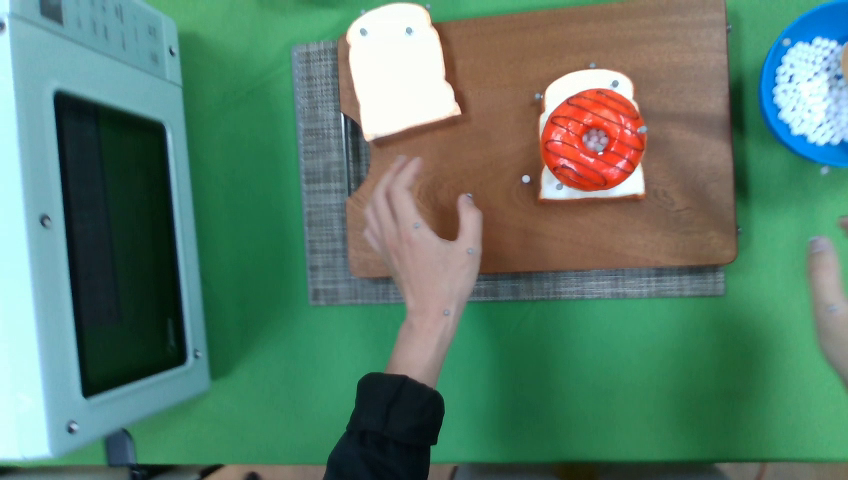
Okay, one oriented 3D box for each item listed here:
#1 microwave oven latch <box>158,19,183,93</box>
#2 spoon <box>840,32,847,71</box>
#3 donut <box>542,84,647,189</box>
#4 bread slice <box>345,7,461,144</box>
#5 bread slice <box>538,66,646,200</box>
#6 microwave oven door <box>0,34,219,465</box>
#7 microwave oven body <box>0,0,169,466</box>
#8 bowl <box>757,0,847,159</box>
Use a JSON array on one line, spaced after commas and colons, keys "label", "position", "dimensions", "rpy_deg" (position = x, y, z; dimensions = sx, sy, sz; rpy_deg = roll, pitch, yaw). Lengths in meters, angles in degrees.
[{"label": "microwave oven latch", "position": [-0.303, -0.211, 0.703], "dimensions": [0.030, 0.029, 0.079], "rpy_deg": [-6, 91, 11]}, {"label": "spoon", "position": [0.398, -0.103, 0.528], "dimensions": [0.041, 0.022, 0.192], "rpy_deg": [1, 71, 3]}, {"label": "donut", "position": [0.162, -0.098, 0.579], "dimensions": [0.099, 0.048, 0.099], "rpy_deg": [0, 92, 12]}, {"label": "bread slice", "position": [-0.030, -0.178, 0.646], "dimensions": [0.107, 0.018, 0.134], "rpy_deg": [-18, 87, 11]}, {"label": "bread slice", "position": [0.165, -0.107, 0.609], "dimensions": [0.105, 0.019, 0.131], "rpy_deg": [-4, 92, 10]}, {"label": "microwave oven door", "position": [-0.303, 0.008, 0.605], "dimensions": [0.039, 0.244, 0.355], "rpy_deg": [-7, 90, 12]}, {"label": "microwave oven body", "position": [-0.449, -0.019, 0.639], "dimensions": [0.325, 0.260, 0.441], "rpy_deg": [-6, 91, 11]}, {"label": "bowl", "position": [0.382, -0.146, 0.562], "dimensions": [0.151, 0.077, 0.151], "rpy_deg": [0, 92, 12]}]
